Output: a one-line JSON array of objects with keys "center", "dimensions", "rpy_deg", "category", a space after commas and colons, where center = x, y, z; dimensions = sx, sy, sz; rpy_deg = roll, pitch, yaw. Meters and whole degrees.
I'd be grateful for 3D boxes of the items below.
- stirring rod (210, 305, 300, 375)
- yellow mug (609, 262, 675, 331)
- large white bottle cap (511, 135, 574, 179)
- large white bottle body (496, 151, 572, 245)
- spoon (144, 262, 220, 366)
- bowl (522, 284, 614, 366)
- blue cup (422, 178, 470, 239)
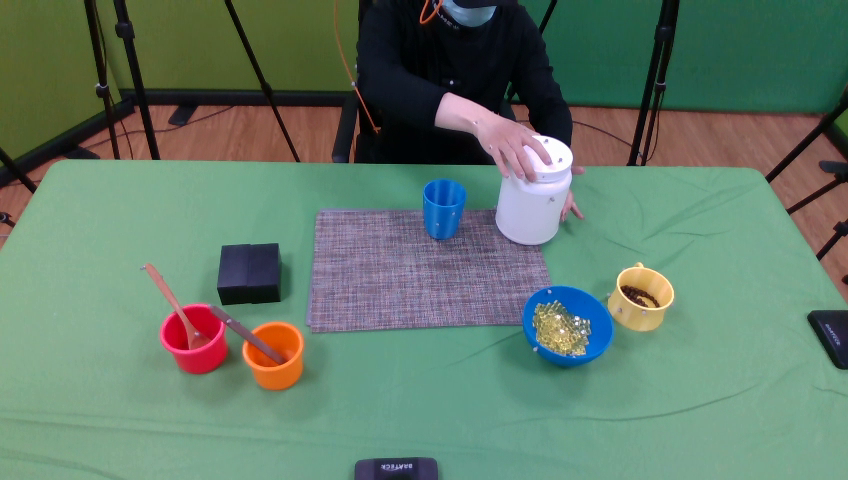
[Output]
[{"center": [-0.262, 0.158, 0.946], "dimensions": [0.177, 0.006, 0.014], "rpy_deg": [43, 43, -21], "category": "stirring rod"}, {"center": [0.393, 0.094, 1.103], "dimensions": [0.100, 0.064, 0.130], "rpy_deg": [7, 45, 3], "category": "yellow mug"}, {"center": [0.220, -0.155, 1.124], "dimensions": [0.115, 0.018, 0.114], "rpy_deg": [2, 46, -2], "category": "large white bottle cap"}, {"center": [0.215, -0.096, 1.185], "dimensions": [0.131, 0.185, 0.130], "rpy_deg": [2, 45, -2], "category": "large white bottle body"}, {"center": [-0.389, 0.118, 0.971], "dimensions": [0.041, 0.021, 0.194], "rpy_deg": [-34, 101, -33], "category": "spoon"}, {"center": [0.235, 0.158, 1.022], "dimensions": [0.151, 0.077, 0.150], "rpy_deg": [2, 46, -2], "category": "bowl"}, {"center": [0.036, -0.057, 1.192], "dimensions": [0.093, 0.101, 0.092], "rpy_deg": [3, 46, -3], "category": "blue cup"}]
